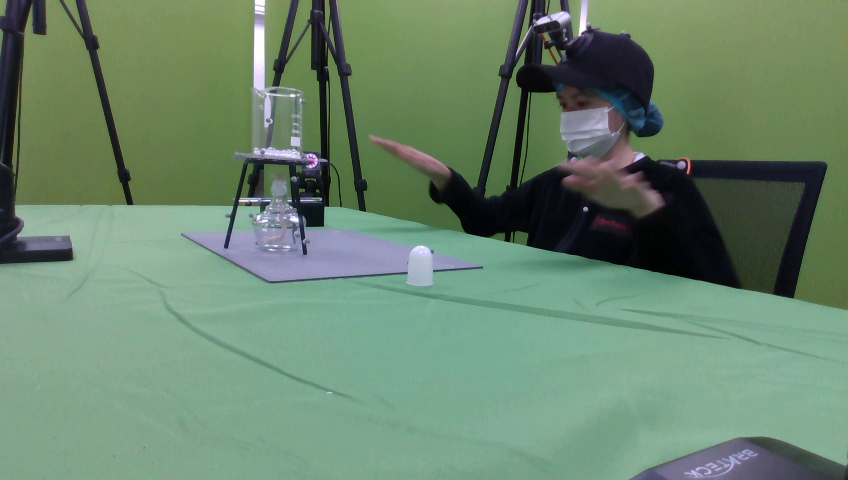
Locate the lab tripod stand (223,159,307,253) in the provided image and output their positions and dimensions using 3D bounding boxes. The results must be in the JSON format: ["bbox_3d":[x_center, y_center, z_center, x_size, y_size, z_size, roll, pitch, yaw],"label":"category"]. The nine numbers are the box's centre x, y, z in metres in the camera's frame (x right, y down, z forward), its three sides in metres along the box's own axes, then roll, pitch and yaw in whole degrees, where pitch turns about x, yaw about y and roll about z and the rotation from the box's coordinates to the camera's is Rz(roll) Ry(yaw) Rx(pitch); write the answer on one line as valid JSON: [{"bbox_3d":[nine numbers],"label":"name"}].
[{"bbox_3d":[-0.220,-0.053,0.896,0.148,0.131,0.148,1,6,0],"label":"lab tripod stand"}]

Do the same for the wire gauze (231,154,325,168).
[{"bbox_3d":[-0.215,-0.117,0.882,0.125,0.011,0.121,3,7,-19],"label":"wire gauze"}]

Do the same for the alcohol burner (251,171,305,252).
[{"bbox_3d":[-0.214,-0.042,0.888,0.078,0.119,0.078,2,9,0],"label":"alcohol burner"}]

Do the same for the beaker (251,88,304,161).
[{"bbox_3d":[-0.214,-0.165,0.874,0.074,0.100,0.084,4,6,15],"label":"beaker"}]

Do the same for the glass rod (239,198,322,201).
[{"bbox_3d":[-0.292,-0.082,1.232,0.201,0.008,0.008,-4,10,-44],"label":"glass rod"}]

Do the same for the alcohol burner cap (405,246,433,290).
[{"bbox_3d":[-0.005,0.031,0.698,0.034,0.048,0.034,3,8,0],"label":"alcohol burner cap"}]
